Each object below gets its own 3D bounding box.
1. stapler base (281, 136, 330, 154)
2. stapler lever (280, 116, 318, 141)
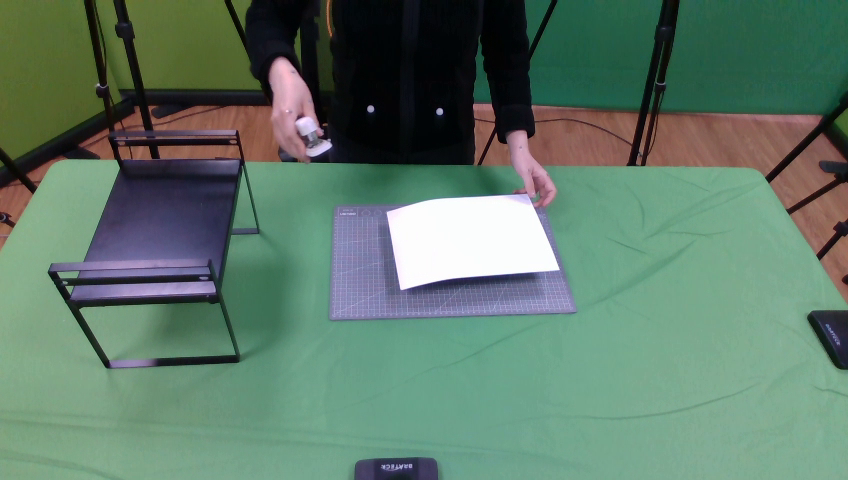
[{"bbox_3d":[-0.203,-0.168,1.021,0.041,0.024,0.130,-29,27,-25],"label":"stapler base"},{"bbox_3d":[-0.211,-0.188,1.012,0.027,0.040,0.117,-30,28,-25],"label":"stapler lever"}]
